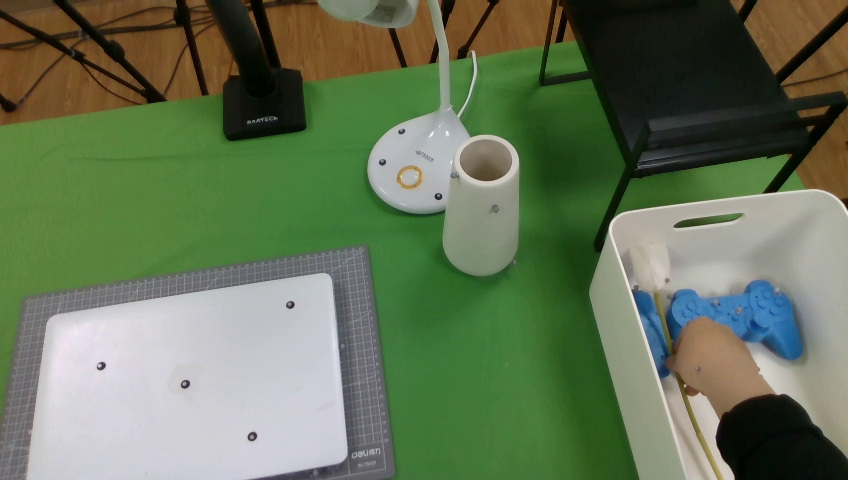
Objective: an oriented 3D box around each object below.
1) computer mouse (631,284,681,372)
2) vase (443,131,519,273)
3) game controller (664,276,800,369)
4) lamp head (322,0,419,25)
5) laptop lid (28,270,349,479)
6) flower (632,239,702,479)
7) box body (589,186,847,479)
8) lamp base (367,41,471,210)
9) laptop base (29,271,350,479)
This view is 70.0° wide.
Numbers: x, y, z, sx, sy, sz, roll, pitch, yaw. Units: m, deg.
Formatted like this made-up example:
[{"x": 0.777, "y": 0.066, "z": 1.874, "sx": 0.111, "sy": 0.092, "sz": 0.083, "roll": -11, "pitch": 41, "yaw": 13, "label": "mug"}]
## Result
[{"x": 0.255, "y": 0.101, "z": 0.719, "sx": 0.063, "sy": 0.041, "sz": 0.116, "roll": -11, "pitch": 53, "yaw": -1, "label": "computer mouse"}, {"x": 0.068, "y": -0.041, "z": 0.719, "sx": 0.098, "sy": 0.202, "sz": 0.097, "roll": -2, "pitch": 60, "yaw": 3, "label": "vase"}, {"x": 0.363, "y": 0.094, "z": 0.718, "sx": 0.155, "sy": 0.052, "sz": 0.096, "roll": -6, "pitch": 59, "yaw": -3, "label": "game controller"}, {"x": -0.040, "y": -0.260, "z": 0.512, "sx": 0.112, "sy": 0.113, "sz": 0.122, "roll": 18, "pitch": 81, "yaw": 12, "label": "lamp head"}, {"x": -0.273, "y": 0.164, "z": 0.706, "sx": 0.357, "sy": 0.013, "sz": 0.239, "roll": -8, "pitch": 63, "yaw": -2, "label": "laptop lid"}, {"x": 0.283, "y": 0.171, "z": 0.668, "sx": 0.044, "sy": 0.038, "sz": 0.359, "roll": 2, "pitch": 72, "yaw": -26, "label": "flower"}, {"x": 0.340, "y": 0.146, "z": 0.629, "sx": 0.254, "sy": 0.162, "sz": 0.360, "roll": -7, "pitch": 61, "yaw": -2, "label": "box body"}, {"x": 0.002, "y": -0.159, "z": 0.797, "sx": 0.160, "sy": 0.182, "sz": 0.178, "roll": 21, "pitch": 61, "yaw": 13, "label": "lamp base"}, {"x": -0.273, "y": 0.168, "z": 0.718, "sx": 0.355, "sy": 0.023, "sz": 0.233, "roll": -9, "pitch": 65, "yaw": -3, "label": "laptop base"}]
